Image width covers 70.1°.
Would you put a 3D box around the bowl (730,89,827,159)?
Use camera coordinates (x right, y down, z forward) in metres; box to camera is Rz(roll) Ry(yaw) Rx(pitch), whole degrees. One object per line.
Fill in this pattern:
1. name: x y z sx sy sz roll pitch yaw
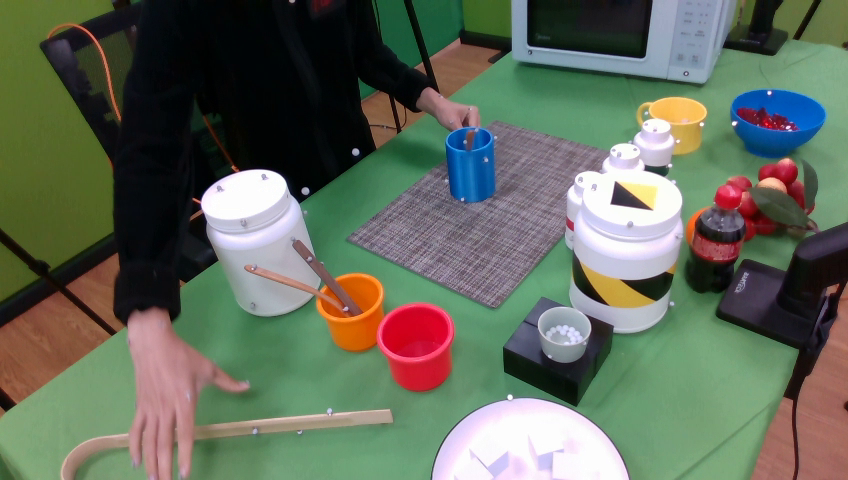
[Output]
1. bowl: 0.615 -0.197 1.069 0.151 0.077 0.150 -5 40 4

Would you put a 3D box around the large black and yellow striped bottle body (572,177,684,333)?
1. large black and yellow striped bottle body: 0.262 0.017 0.788 0.131 0.185 0.130 -5 40 4

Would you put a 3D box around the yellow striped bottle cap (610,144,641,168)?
1. yellow striped bottle cap: 0.307 -0.128 0.923 0.044 0.019 0.044 -5 40 5

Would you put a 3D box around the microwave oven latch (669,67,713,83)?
1. microwave oven latch: 0.556 -0.348 1.261 0.078 0.029 0.030 16 46 27

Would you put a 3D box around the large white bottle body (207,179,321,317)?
1. large white bottle body: -0.232 0.007 0.877 0.130 0.185 0.130 -5 40 4

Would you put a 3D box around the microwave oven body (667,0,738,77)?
1. microwave oven body: 0.462 -0.552 1.369 0.439 0.261 0.326 15 45 26

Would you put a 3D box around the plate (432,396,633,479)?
1. plate: 0.112 0.261 0.634 0.209 0.038 0.208 -5 40 4

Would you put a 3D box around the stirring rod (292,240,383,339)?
1. stirring rod: -0.118 0.068 0.825 0.176 0.006 0.014 48 59 -4

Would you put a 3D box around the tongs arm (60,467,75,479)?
1. tongs arm: -0.239 0.302 0.649 0.386 0.028 0.028 6 49 16

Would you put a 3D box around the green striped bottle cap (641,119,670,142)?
1. green striped bottle cap: 0.371 -0.175 0.968 0.044 0.020 0.044 -6 41 5

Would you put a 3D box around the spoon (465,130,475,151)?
1. spoon: 0.074 -0.144 0.997 0.041 0.194 0.021 -5 75 3

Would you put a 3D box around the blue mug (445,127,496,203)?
1. blue mug: 0.082 -0.140 1.060 0.082 0.106 0.116 -5 40 4

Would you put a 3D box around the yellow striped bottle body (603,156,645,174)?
1. yellow striped bottle body: 0.313 -0.089 0.956 0.063 0.121 0.062 -4 40 4

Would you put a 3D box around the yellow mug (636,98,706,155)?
1. yellow mug: 0.453 -0.217 1.129 0.100 0.064 0.129 -34 46 -27

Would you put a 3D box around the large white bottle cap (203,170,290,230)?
1. large white bottle cap: -0.241 -0.057 0.822 0.115 0.018 0.114 -4 41 4

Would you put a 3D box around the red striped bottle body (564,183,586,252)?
1. red striped bottle body: 0.247 -0.041 0.910 0.063 0.120 0.062 -3 39 3

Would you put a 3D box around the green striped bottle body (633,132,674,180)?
1. green striped bottle body: 0.376 -0.135 1.001 0.063 0.120 0.063 -5 40 5

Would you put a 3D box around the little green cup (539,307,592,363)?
1. little green cup: 0.168 0.115 0.721 0.061 0.039 0.061 -4 42 4

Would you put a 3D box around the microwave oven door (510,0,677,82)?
1. microwave oven door: 0.352 -0.477 1.289 0.353 0.245 0.039 15 44 25

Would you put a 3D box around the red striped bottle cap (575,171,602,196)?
1. red striped bottle cap: 0.242 -0.081 0.876 0.044 0.018 0.044 -5 44 5

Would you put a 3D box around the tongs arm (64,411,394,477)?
1. tongs arm: -0.228 0.241 0.715 0.385 0.026 0.050 -5 44 4

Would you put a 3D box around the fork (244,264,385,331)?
1. fork: -0.142 0.078 0.806 0.209 0.018 0.028 30 33 -23

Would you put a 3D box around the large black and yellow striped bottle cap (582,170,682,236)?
1. large black and yellow striped bottle cap: 0.252 -0.048 0.735 0.115 0.019 0.114 -3 40 3
